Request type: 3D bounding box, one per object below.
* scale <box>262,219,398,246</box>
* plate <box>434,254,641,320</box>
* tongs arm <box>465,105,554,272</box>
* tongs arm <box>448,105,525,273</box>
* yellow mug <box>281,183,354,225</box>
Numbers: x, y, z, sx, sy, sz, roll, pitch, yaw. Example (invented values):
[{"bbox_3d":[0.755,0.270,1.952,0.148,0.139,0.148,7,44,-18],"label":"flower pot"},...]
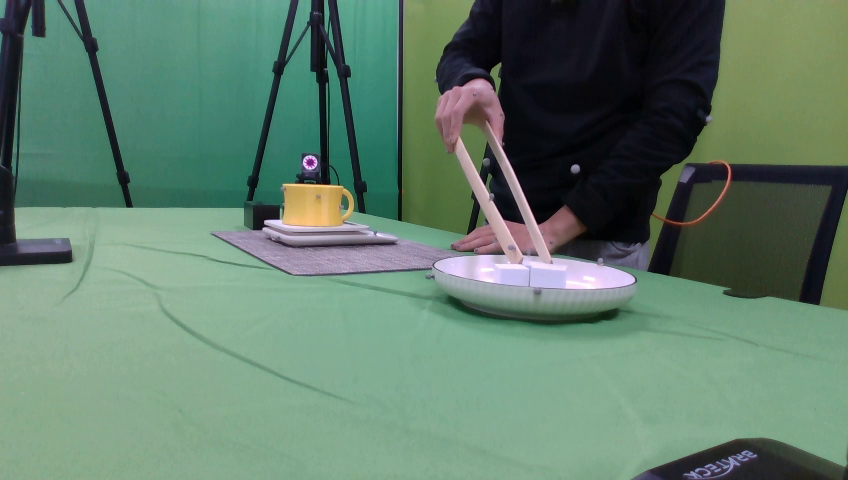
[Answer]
[{"bbox_3d":[-0.160,-0.016,1.028,0.202,0.031,0.148,-1,9,-31],"label":"scale"},{"bbox_3d":[0.114,0.047,0.625,0.208,0.039,0.207,2,7,0],"label":"plate"},{"bbox_3d":[0.106,-0.087,0.795,0.028,0.028,0.386,-5,37,-7],"label":"tongs arm"},{"bbox_3d":[0.082,-0.087,0.791,0.051,0.026,0.383,-4,37,-12],"label":"tongs arm"},{"bbox_3d":[-0.172,-0.061,1.009,0.131,0.064,0.099,-2,8,-42],"label":"yellow mug"}]
